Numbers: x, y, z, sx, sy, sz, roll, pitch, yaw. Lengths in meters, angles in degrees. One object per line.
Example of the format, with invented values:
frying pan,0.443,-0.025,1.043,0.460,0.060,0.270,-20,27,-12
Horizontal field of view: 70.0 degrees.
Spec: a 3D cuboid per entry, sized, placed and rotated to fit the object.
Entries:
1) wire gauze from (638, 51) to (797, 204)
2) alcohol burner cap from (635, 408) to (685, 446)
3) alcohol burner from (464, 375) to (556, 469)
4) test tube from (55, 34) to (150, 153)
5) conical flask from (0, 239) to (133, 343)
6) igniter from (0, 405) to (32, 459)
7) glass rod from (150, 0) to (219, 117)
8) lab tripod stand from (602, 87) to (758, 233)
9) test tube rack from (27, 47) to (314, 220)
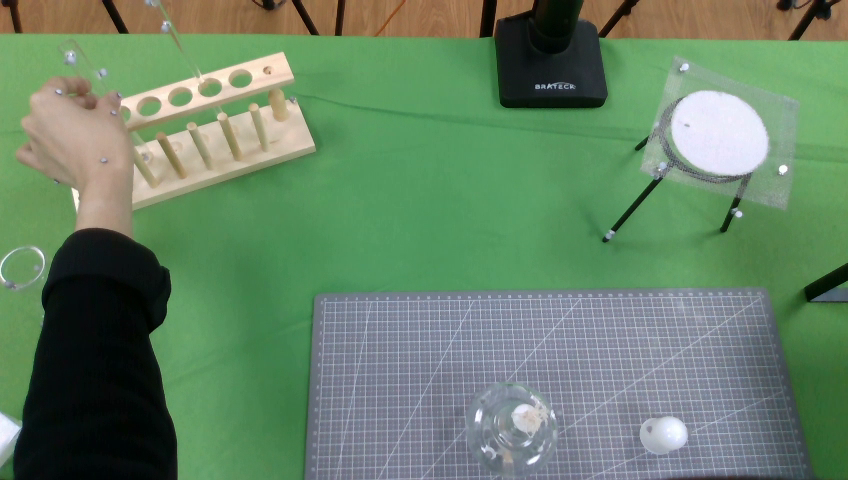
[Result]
wire gauze,0.257,-0.098,0.522,0.121,0.011,0.124,20,69,4
alcohol burner cap,0.210,0.163,0.532,0.034,0.048,0.033,1,67,-2
alcohol burner,0.073,0.146,0.494,0.078,0.120,0.077,2,66,-3
test tube,-0.287,-0.127,0.551,0.017,0.151,0.017,0,63,1
conical flask,-0.311,0.039,0.520,0.075,0.122,0.075,1,67,-1
igniter,-0.397,0.244,0.432,0.057,0.025,0.275,26,68,19
glass rod,-0.216,-0.163,0.556,0.008,0.201,0.008,-2,61,4
lab tripod stand,0.248,-0.070,0.583,0.148,0.132,0.147,2,66,-3
test tube rack,-0.241,-0.105,0.602,0.242,0.086,0.066,-20,69,-10
